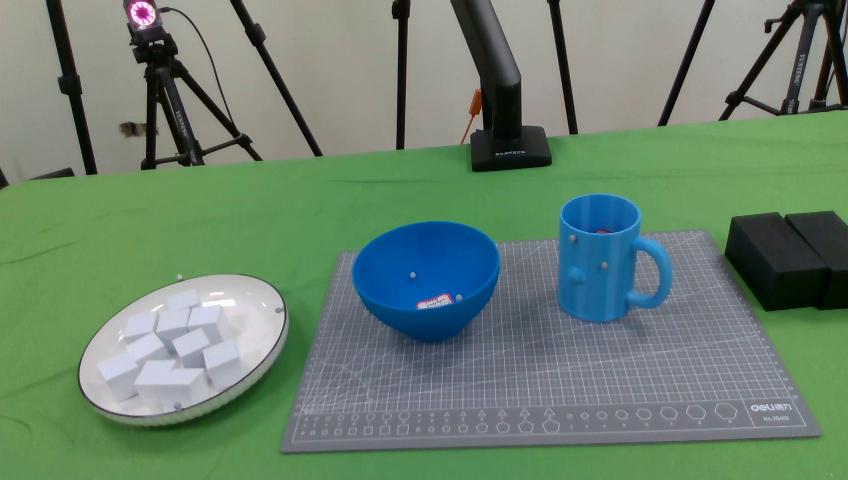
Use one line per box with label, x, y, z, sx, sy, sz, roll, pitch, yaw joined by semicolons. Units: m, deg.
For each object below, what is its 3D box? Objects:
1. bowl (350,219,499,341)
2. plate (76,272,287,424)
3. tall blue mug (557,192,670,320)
bowl;0.004;0.051;0.626;0.151;0.077;0.150;-5;34;4
plate;-0.243;0.110;0.628;0.209;0.038;0.207;-4;35;3
tall blue mug;0.189;0.018;0.610;0.107;0.109;0.077;3;36;16
